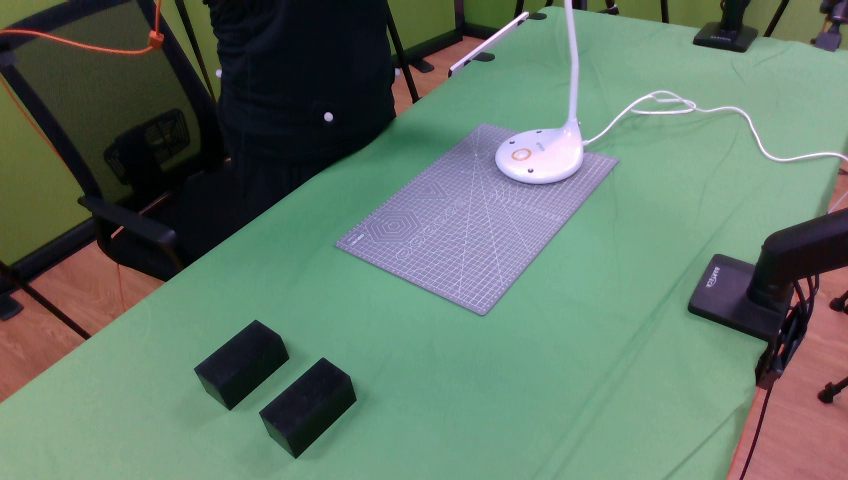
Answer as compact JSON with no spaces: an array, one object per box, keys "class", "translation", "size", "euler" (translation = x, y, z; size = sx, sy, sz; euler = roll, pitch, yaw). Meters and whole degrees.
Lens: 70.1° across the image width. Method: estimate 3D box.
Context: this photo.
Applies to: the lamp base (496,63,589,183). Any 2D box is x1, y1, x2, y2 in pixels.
[{"class":"lamp base","translation":[0.216,-0.217,1.066],"size":[0.180,0.181,0.159],"euler":[-19,42,-18]}]
